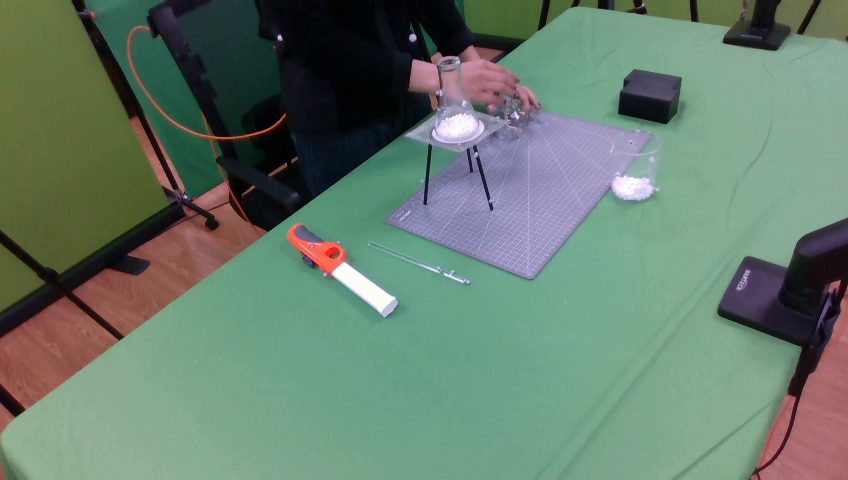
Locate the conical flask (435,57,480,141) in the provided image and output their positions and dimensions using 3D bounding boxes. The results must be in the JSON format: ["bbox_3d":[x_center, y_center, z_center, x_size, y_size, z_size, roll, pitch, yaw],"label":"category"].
[{"bbox_3d":[0.046,-0.225,0.955,0.075,0.122,0.075,-7,39,6],"label":"conical flask"}]

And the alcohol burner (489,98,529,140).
[{"bbox_3d":[0.166,-0.259,1.184,0.078,0.119,0.077,-6,38,5],"label":"alcohol burner"}]

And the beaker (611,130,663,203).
[{"bbox_3d":[0.346,-0.118,0.998,0.084,0.101,0.073,-17,40,-7],"label":"beaker"}]

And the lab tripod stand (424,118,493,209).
[{"bbox_3d":[0.061,-0.133,1.038,0.148,0.132,0.147,-6,38,6],"label":"lab tripod stand"}]

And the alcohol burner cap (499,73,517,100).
[{"bbox_3d":[0.160,-0.295,1.152,0.034,0.048,0.033,-5,45,6],"label":"alcohol burner cap"}]

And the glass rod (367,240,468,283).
[{"bbox_3d":[-0.014,0.032,0.959,0.198,0.008,0.008,21,49,30],"label":"glass rod"}]

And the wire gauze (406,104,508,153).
[{"bbox_3d":[0.054,-0.183,0.997,0.120,0.011,0.125,25,53,38],"label":"wire gauze"}]

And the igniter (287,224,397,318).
[{"bbox_3d":[-0.139,0.042,0.958,0.057,0.025,0.274,-42,49,-19],"label":"igniter"}]
